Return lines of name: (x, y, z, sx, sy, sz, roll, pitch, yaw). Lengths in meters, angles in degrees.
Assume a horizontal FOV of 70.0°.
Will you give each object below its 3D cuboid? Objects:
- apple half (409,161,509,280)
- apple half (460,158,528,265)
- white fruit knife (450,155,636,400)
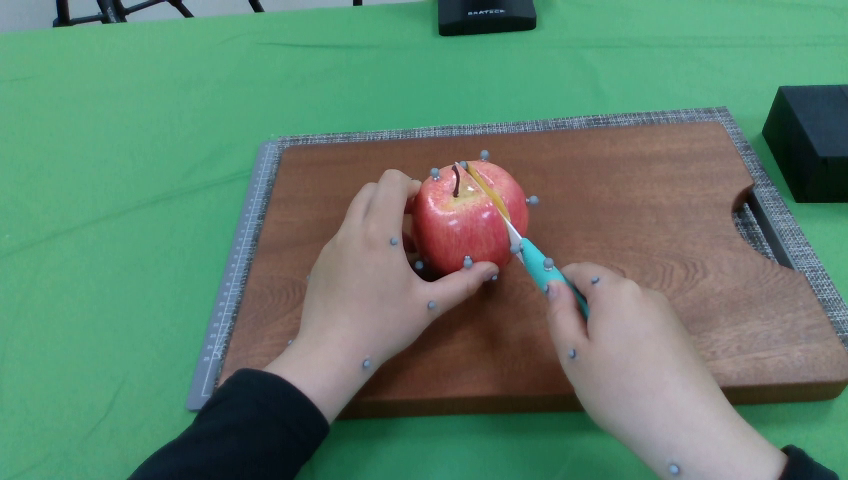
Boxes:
apple half: (0.018, -0.008, 0.425, 0.053, 0.075, 0.080, -26, 53, -12)
apple half: (0.055, -0.023, 0.435, 0.033, 0.082, 0.080, -23, 49, -16)
white fruit knife: (0.065, 0.010, 0.384, 0.016, 0.028, 0.205, -24, 54, -15)
